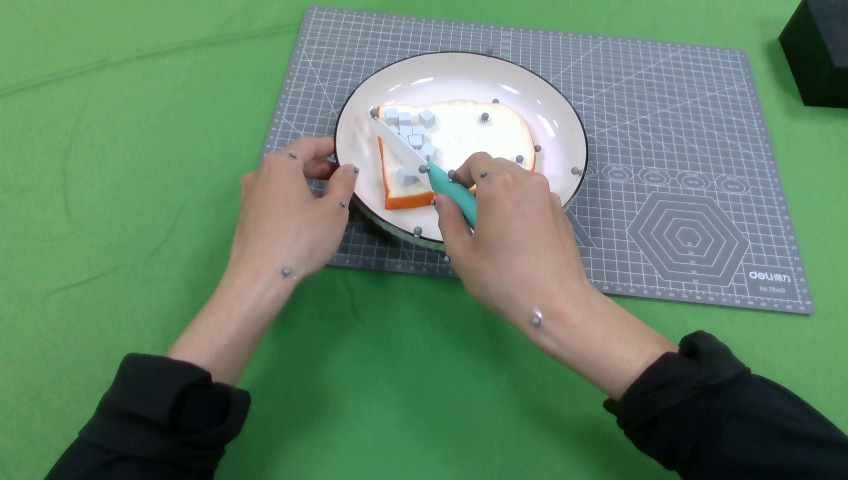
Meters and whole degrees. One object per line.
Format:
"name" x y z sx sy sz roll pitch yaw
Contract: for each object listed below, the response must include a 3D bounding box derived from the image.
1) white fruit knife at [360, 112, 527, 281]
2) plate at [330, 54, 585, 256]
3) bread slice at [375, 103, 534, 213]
"white fruit knife" 0.005 -0.043 0.449 0.016 0.027 0.205 -23 51 -28
"plate" 0.027 -0.072 0.506 0.209 0.038 0.207 2 58 -3
"bread slice" 0.026 -0.075 0.511 0.132 0.019 0.104 -7 59 -6
